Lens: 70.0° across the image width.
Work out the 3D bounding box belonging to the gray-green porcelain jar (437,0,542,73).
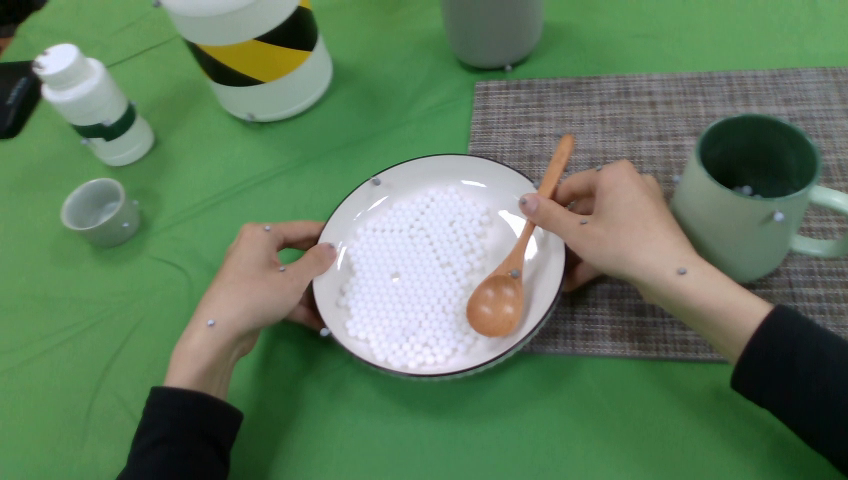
[{"bbox_3d":[0.067,-0.245,0.615,0.106,0.128,0.105,-5,56,7],"label":"gray-green porcelain jar"}]

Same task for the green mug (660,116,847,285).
[{"bbox_3d":[0.244,-0.021,0.442,0.124,0.106,0.092,21,62,22],"label":"green mug"}]

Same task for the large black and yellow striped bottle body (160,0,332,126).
[{"bbox_3d":[-0.178,-0.221,0.608,0.130,0.186,0.129,-5,56,8],"label":"large black and yellow striped bottle body"}]

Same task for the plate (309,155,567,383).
[{"bbox_3d":[0.011,0.021,0.495,0.209,0.038,0.207,-6,56,9],"label":"plate"}]

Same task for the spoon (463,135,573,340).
[{"bbox_3d":[0.083,-0.008,0.480,0.041,0.022,0.193,23,73,12],"label":"spoon"}]

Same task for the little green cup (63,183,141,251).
[{"bbox_3d":[-0.309,-0.020,0.587,0.061,0.039,0.061,-5,54,8],"label":"little green cup"}]

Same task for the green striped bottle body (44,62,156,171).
[{"bbox_3d":[-0.332,-0.131,0.615,0.063,0.120,0.062,-5,56,8],"label":"green striped bottle body"}]

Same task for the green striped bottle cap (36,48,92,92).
[{"bbox_3d":[-0.341,-0.160,0.573,0.044,0.020,0.044,-3,58,5],"label":"green striped bottle cap"}]
